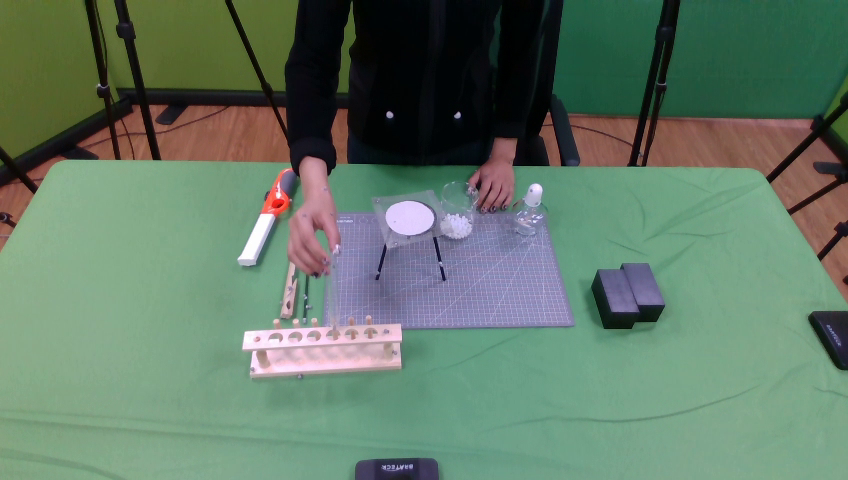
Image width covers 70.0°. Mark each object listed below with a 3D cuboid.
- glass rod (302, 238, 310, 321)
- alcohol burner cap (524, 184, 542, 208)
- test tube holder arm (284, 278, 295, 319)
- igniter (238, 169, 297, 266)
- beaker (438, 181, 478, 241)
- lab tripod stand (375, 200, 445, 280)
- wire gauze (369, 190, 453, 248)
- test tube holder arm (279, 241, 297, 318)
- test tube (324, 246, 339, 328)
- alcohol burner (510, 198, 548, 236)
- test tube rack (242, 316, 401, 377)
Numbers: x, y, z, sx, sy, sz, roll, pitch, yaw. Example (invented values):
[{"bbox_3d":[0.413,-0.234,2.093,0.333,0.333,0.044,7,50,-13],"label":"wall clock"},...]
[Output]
[{"bbox_3d":[-0.218,0.069,1.125,0.008,0.008,0.198,-2,47,-5],"label":"glass rod"},{"bbox_3d":[0.216,-0.089,1.186,0.034,0.048,0.033,1,55,-2],"label":"alcohol burner cap"},{"bbox_3d":[-0.242,0.103,1.085,0.010,0.015,0.087,26,38,-28],"label":"test tube holder arm"},{"bbox_3d":[-0.313,-0.055,1.225,0.057,0.025,0.275,1,45,10],"label":"igniter"},{"bbox_3d":[0.066,-0.053,1.200,0.074,0.101,0.083,-17,50,-19],"label":"beaker"},{"bbox_3d":[-0.023,0.004,1.113,0.148,0.132,0.147,3,45,-3],"label":"lab tripod stand"},{"bbox_3d":[-0.024,-0.042,1.064,0.121,0.011,0.124,-10,48,-16],"label":"wire gauze"},{"bbox_3d":[-0.249,0.069,1.113,0.013,0.015,0.177,25,38,-28],"label":"test tube holder arm"},{"bbox_3d":[-0.137,0.072,0.898,0.017,0.151,0.017,2,35,-1],"label":"test tube"},{"bbox_3d":[0.214,-0.066,1.213,0.078,0.119,0.077,3,48,-3],"label":"alcohol burner"},{"bbox_3d":[-0.161,0.166,0.983,0.242,0.085,0.066,-2,46,-6],"label":"test tube rack"}]
